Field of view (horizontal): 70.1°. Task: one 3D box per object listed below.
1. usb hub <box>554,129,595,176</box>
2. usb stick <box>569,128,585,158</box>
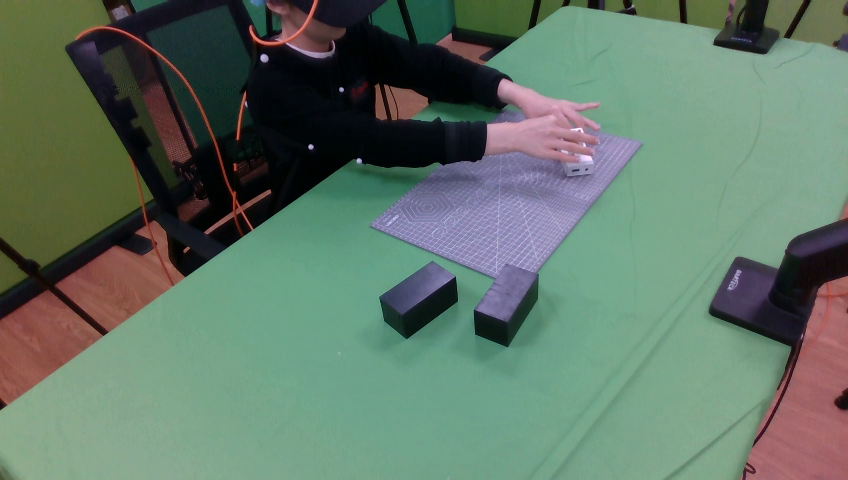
[{"bbox_3d":[0.278,-0.163,1.119,0.049,0.025,0.124,-5,41,1],"label":"usb hub"},{"bbox_3d":[0.272,-0.167,1.074,0.027,0.059,0.021,-7,39,1],"label":"usb stick"}]
